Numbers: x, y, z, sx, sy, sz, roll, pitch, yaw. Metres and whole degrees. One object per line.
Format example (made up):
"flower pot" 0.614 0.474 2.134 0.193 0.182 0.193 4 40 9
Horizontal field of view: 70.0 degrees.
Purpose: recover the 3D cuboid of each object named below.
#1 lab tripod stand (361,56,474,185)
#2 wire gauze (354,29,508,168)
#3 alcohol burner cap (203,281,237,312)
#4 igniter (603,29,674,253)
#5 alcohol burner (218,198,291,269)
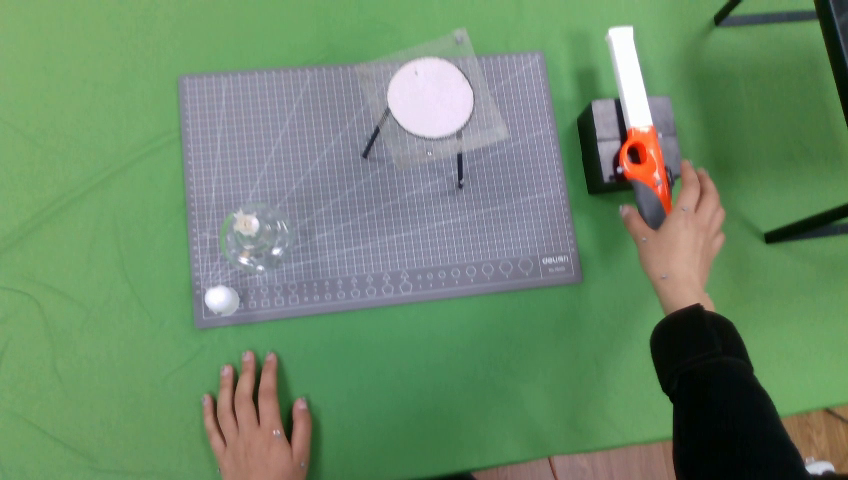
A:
"lab tripod stand" 0.000 -0.136 0.674 0.148 0.132 0.147 1 77 -5
"wire gauze" 0.008 -0.142 0.608 0.125 0.011 0.121 -19 82 -10
"alcohol burner cap" -0.223 0.060 0.658 0.034 0.048 0.033 1 79 -7
"igniter" 0.251 -0.120 0.711 0.057 0.025 0.275 -6 78 -5
"alcohol burner" -0.180 -0.010 0.639 0.078 0.119 0.077 1 80 -8
